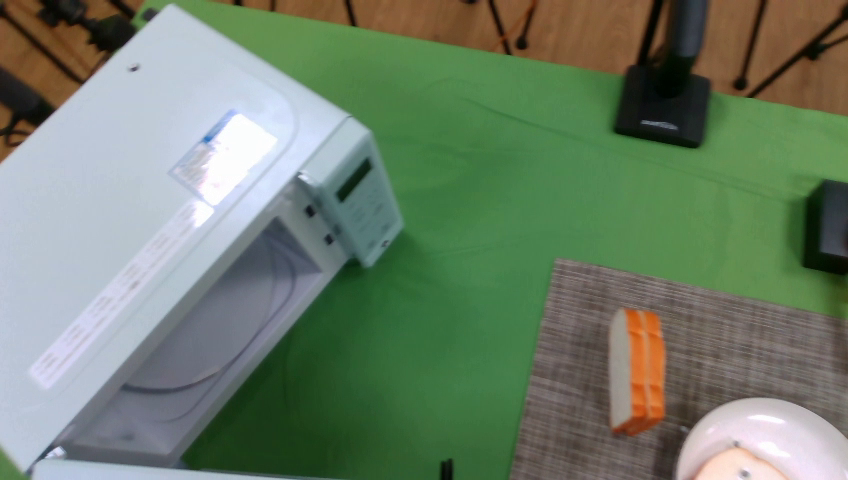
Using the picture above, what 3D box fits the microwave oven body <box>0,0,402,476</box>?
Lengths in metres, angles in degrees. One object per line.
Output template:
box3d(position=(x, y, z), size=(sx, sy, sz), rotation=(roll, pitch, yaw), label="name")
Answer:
box3d(position=(-0.294, 0.007, 0.710), size=(0.324, 0.262, 0.441), rotation=(35, 76, 17), label="microwave oven body")

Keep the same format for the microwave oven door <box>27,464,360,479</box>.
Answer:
box3d(position=(-0.144, 0.246, 0.592), size=(0.355, 0.245, 0.039), rotation=(1, 68, 7), label="microwave oven door")

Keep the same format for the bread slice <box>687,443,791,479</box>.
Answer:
box3d(position=(0.349, 0.287, 0.644), size=(0.133, 0.018, 0.107), rotation=(37, 73, 21), label="bread slice")

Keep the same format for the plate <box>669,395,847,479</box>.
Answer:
box3d(position=(0.368, 0.274, 0.650), size=(0.207, 0.039, 0.206), rotation=(-2, 68, 5), label="plate")

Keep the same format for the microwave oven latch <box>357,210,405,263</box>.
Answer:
box3d(position=(-0.058, -0.010, 0.796), size=(0.030, 0.030, 0.079), rotation=(36, 77, 18), label="microwave oven latch")
